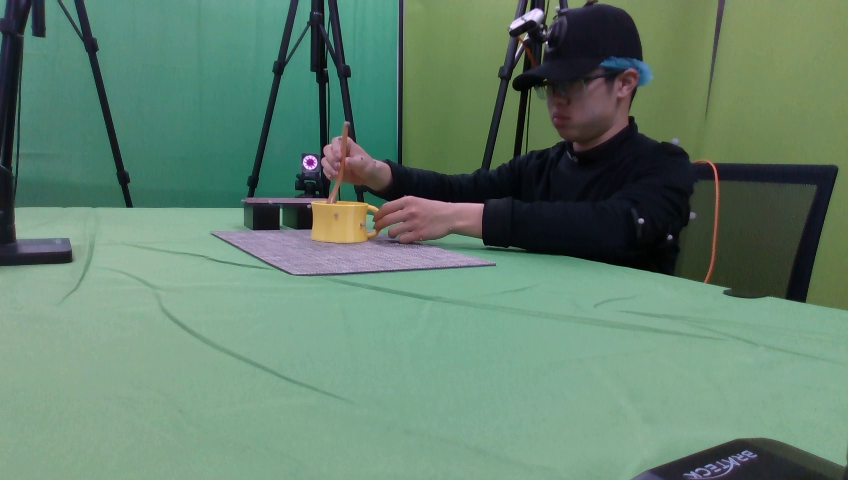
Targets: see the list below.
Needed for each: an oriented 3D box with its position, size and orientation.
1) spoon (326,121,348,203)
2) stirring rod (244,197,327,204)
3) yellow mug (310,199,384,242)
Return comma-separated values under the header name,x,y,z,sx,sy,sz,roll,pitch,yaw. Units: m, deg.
name,x,y,z,sx,sy,sz,roll,pitch,yaw
spoon,-0.149,-0.108,1.036,0.022,0.193,0.041,13,3,-18
stirring rod,-0.270,-0.078,1.201,0.177,0.006,0.014,-2,44,-37
yellow mug,-0.132,-0.035,1.054,0.131,0.064,0.099,0,8,-23
